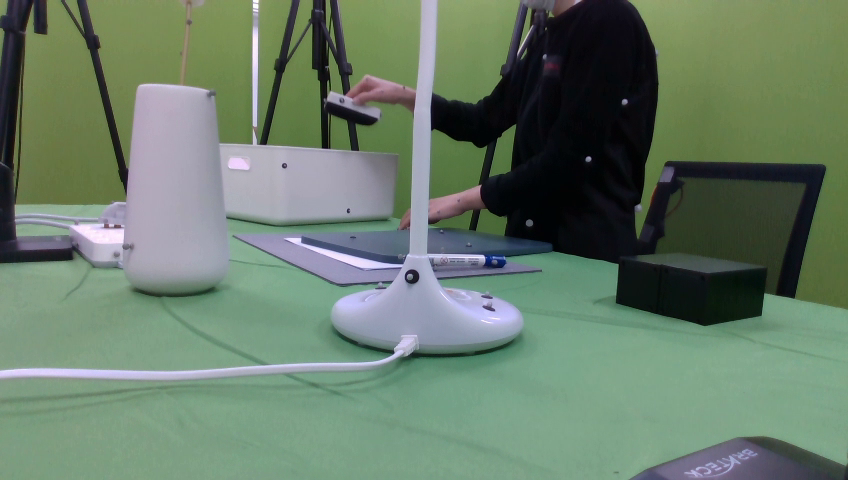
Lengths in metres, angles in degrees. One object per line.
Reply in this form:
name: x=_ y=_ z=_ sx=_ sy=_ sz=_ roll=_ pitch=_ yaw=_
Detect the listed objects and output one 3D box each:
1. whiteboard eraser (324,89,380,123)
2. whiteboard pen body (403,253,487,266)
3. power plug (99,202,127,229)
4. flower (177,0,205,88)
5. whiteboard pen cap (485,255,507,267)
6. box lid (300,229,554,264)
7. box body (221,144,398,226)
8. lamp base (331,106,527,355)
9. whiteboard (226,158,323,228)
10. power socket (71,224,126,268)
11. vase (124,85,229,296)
whiteboard eraser: x=-0.151 y=-0.274 z=1.258 sx=0.113 sy=0.042 sz=0.055 roll=15 pitch=-7 yaw=-15
whiteboard pen body: x=0.040 y=0.026 z=0.785 sx=0.141 sy=0.017 sz=0.017 roll=2 pitch=7 yaw=-24
power plug: x=-0.415 y=-0.026 z=0.848 sx=0.073 sy=0.052 sz=0.035 roll=6 pitch=5 yaw=-28
flower: x=-0.243 y=-0.131 z=0.609 sx=0.044 sy=0.361 sz=0.038 roll=-5 pitch=-12 yaw=12
whiteboard pen cap: x=0.093 y=0.028 z=0.810 sx=0.033 sy=0.018 sz=0.018 roll=1 pitch=7 yaw=-24
box lid: x=0.011 y=0.006 z=0.999 sx=0.374 sy=0.015 sz=0.262 roll=-3 pitch=9 yaw=-43
box body: x=-0.264 y=-0.129 z=1.380 sx=0.253 sy=0.160 sz=0.366 roll=8 pitch=9 yaw=39
lamp base: x=0.006 y=-0.012 z=0.478 sx=0.161 sy=0.180 sz=0.179 roll=2 pitch=10 yaw=2
whiteboard: x=-0.276 y=-0.119 z=1.376 sx=0.216 sy=0.143 sz=0.307 roll=7 pitch=10 yaw=39
power socket: x=-0.409 y=0.004 z=0.793 sx=0.072 sy=0.032 sz=0.225 roll=-2 pitch=8 yaw=-37
vase: x=-0.244 y=-0.047 z=0.598 sx=0.098 sy=0.200 sz=0.098 roll=3 pitch=8 yaw=0
